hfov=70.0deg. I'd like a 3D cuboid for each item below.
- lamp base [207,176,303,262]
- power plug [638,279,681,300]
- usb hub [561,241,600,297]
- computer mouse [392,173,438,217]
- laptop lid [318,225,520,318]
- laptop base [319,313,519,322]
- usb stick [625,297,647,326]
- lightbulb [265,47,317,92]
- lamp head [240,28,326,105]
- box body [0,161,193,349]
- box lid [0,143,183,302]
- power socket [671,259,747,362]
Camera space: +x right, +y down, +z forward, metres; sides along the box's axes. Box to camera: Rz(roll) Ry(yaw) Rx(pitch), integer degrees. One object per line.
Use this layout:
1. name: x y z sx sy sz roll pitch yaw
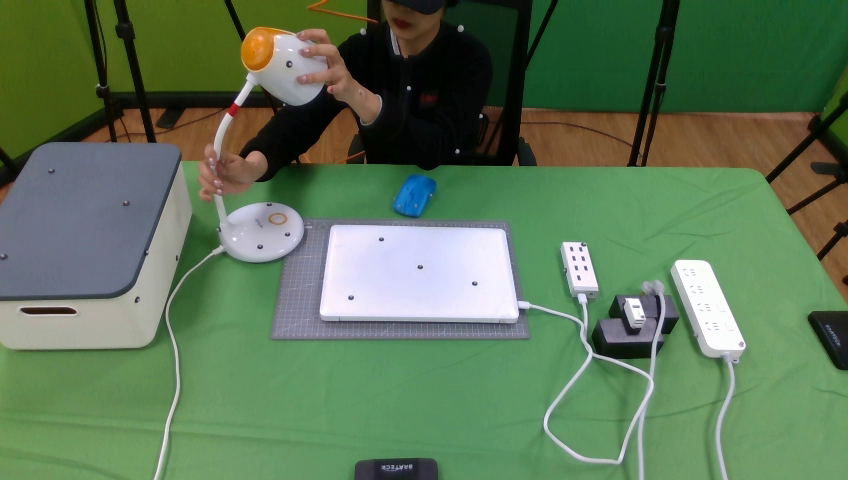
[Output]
1. lamp base: -0.325 -0.065 1.126 0.179 0.181 0.159 -34 56 -27
2. power plug: 0.434 0.099 1.119 0.073 0.053 0.035 34 38 -15
3. usb hub: 0.300 0.055 1.162 0.049 0.025 0.124 3 46 -3
4. computer mouse: -0.018 -0.098 1.282 0.062 0.041 0.117 20 51 13
5. laptop lid: -0.009 0.052 1.131 0.357 0.013 0.240 2 43 -2
6. laptop base: -0.009 0.062 1.137 0.354 0.023 0.234 1 42 -3
7. usb stick: 0.360 0.116 1.034 0.021 0.027 0.059 -2 44 -2
8. lightbulb: -0.219 -0.281 0.986 0.059 0.108 0.059 -6 76 25
9. lamp head: -0.237 -0.283 0.969 0.112 0.112 0.123 33 14 25
10. box body: -0.570 0.006 1.054 0.254 0.161 0.361 -1 46 -4
11. box lid: -0.567 -0.045 0.999 0.263 0.015 0.369 -1 46 -4
12. power socket: 0.516 0.119 1.108 0.072 0.033 0.225 1 46 -2
